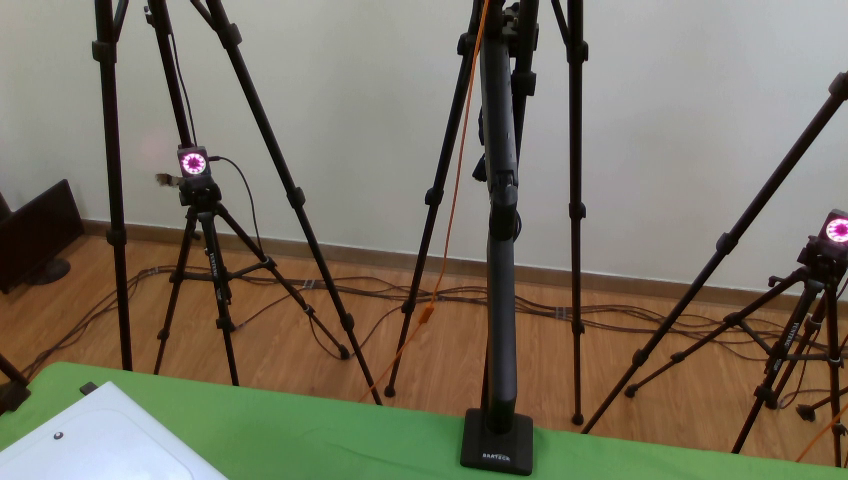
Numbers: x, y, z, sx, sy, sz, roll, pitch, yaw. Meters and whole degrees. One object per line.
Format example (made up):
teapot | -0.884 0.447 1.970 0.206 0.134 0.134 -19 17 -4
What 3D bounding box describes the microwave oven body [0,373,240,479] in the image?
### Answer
microwave oven body | -0.444 0.426 0.686 0.323 0.262 0.441 25 43 27
